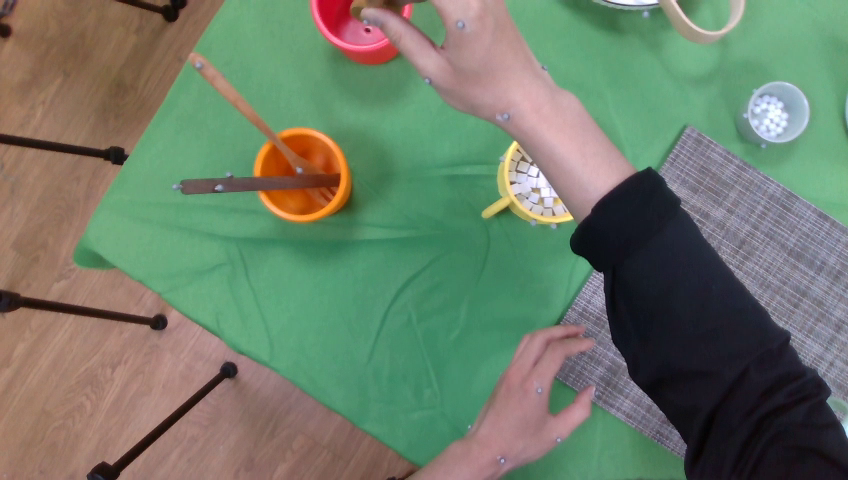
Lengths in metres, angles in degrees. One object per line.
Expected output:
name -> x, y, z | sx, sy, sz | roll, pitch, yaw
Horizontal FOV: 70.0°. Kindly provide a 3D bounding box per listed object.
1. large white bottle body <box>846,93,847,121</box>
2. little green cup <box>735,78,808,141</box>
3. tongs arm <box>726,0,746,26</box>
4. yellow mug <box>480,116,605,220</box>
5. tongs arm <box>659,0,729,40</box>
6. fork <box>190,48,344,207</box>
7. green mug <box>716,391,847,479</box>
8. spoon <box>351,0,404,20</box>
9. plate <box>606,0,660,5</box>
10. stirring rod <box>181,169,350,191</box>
large white bottle body -> 0.503, -0.139, 0.549 | 0.130, 0.184, 0.130 | 0, 90, 2
little green cup -> 0.356, -0.132, 0.626 | 0.061, 0.038, 0.061 | 0, 91, 2
tongs arm -> 0.256, -0.394, 0.593 | 0.028, 0.028, 0.387 | -14, 89, -4
yellow mug -> 0.114, -0.063, 0.620 | 0.131, 0.064, 0.100 | -32, 91, 3
tongs arm -> 0.180, -0.361, 0.594 | 0.051, 0.026, 0.384 | -28, 88, -1
fork -> -0.145, -0.102, 0.583 | 0.028, 0.018, 0.210 | -41, 133, 0
green mug -> 0.364, 0.194, 0.596 | 0.125, 0.105, 0.092 | -41, 89, 2
spoon -> -0.033, -0.168, 0.411 | 0.041, 0.192, 0.022 | -2, 106, -3
plate -> 0.219, -0.344, 0.625 | 0.207, 0.039, 0.207 | 0, 91, 2
stirring rod -> -0.147, -0.059, 0.590 | 0.177, 0.006, 0.014 | -8, 92, -40
